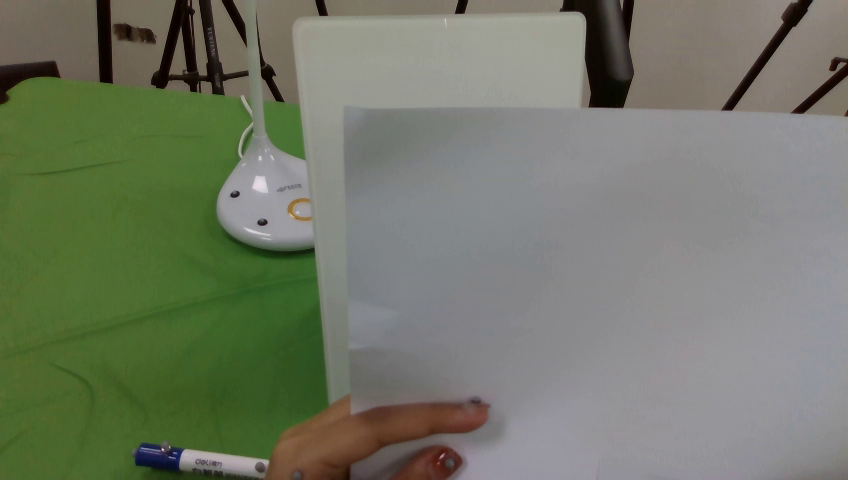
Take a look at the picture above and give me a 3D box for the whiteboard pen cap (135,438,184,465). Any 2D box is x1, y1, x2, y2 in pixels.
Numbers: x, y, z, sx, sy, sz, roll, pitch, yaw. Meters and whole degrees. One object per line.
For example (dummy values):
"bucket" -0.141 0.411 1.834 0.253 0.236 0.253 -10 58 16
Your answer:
"whiteboard pen cap" -0.190 0.154 0.440 0.033 0.018 0.018 7 38 -2

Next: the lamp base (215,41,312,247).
"lamp base" -0.160 -0.111 0.659 0.161 0.182 0.177 -28 47 -35

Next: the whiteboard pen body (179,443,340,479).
"whiteboard pen body" -0.132 0.162 0.441 0.141 0.017 0.017 8 38 -1

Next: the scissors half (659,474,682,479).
"scissors half" 0.180 0.106 0.225 0.174 0.040 0.012 1 69 29

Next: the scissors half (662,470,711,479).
"scissors half" 0.186 0.114 0.244 0.175 0.040 0.012 11 67 7

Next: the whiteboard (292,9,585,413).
"whiteboard" 0.003 -0.036 0.534 0.218 0.307 0.142 -7 21 -15

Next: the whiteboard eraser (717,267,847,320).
"whiteboard eraser" 0.369 0.056 0.630 0.113 0.042 0.055 1 40 -6
